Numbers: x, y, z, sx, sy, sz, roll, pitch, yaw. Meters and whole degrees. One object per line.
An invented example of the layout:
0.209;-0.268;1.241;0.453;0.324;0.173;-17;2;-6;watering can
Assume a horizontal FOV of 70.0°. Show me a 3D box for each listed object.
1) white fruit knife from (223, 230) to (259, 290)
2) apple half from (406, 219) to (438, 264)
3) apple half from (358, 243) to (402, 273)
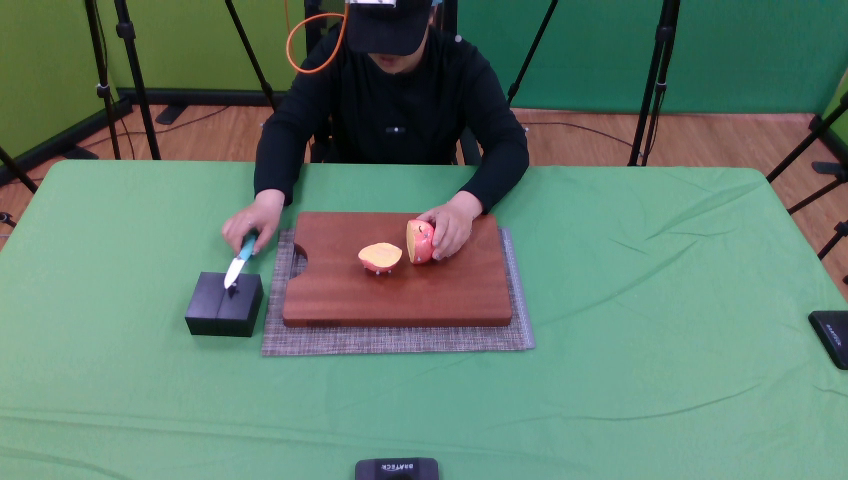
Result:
-0.333;0.035;1.106;0.027;0.016;0.206;1;29;-1;white fruit knife
-0.001;0.004;1.120;0.053;0.075;0.080;-3;43;-13;apple half
-0.078;0.038;1.110;0.081;0.033;0.081;1;30;0;apple half
